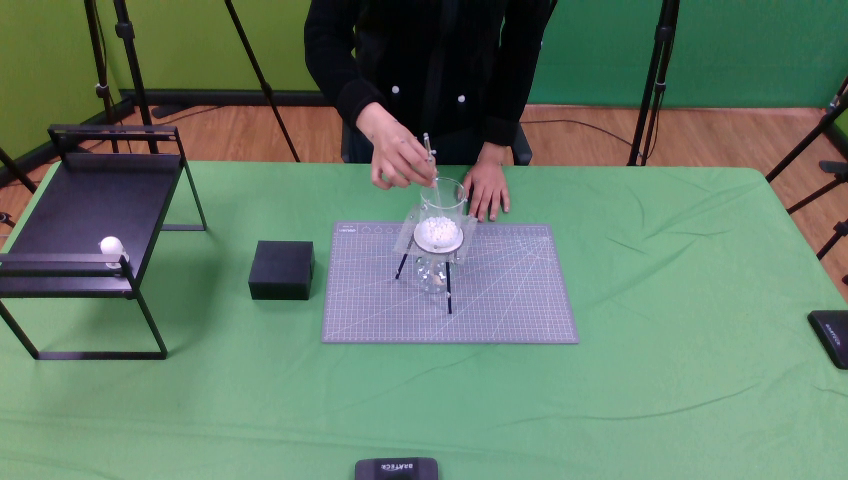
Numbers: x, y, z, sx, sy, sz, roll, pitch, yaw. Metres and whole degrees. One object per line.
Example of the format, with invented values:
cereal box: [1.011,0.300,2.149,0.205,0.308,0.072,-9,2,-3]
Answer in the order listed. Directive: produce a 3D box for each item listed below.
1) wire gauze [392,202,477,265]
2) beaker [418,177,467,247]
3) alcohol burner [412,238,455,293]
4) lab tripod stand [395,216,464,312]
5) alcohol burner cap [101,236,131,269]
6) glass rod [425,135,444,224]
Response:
wire gauze: [0.021,-0.011,1.038,0.121,0.011,0.124,13,49,9]
beaker: [0.026,-0.045,1.004,0.074,0.101,0.083,-20,51,-23]
alcohol burner: [0.019,0.040,1.094,0.078,0.119,0.077,3,45,-3]
lab tripod stand: [0.023,0.037,1.084,0.148,0.132,0.147,4,46,-4]
alcohol burner cap: [-0.452,0.016,0.883,0.034,0.048,0.033,2,47,-1]
glass rod: [0.018,-0.091,0.968,0.008,0.201,0.008,-5,51,6]
